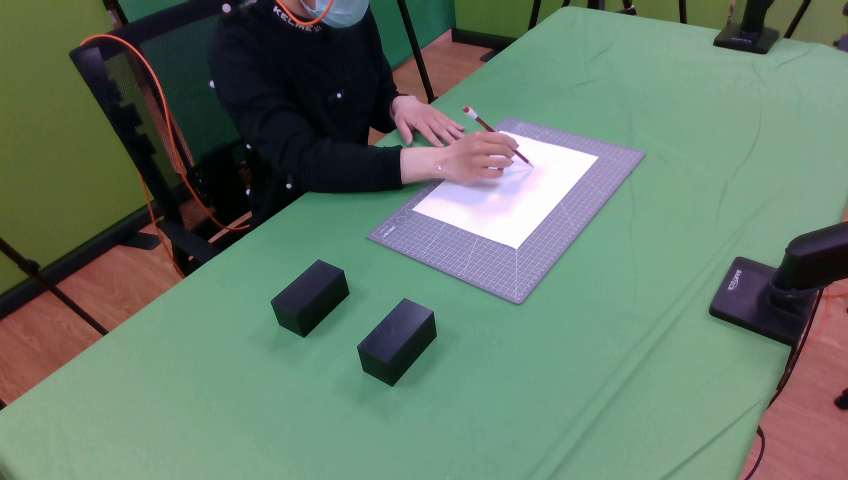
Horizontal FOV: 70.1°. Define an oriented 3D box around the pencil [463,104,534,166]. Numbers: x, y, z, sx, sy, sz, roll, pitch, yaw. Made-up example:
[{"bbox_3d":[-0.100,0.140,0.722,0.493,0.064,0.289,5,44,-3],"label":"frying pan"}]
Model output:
[{"bbox_3d":[0.134,-0.179,1.050,0.012,0.196,0.012,-30,44,34],"label":"pencil"}]
